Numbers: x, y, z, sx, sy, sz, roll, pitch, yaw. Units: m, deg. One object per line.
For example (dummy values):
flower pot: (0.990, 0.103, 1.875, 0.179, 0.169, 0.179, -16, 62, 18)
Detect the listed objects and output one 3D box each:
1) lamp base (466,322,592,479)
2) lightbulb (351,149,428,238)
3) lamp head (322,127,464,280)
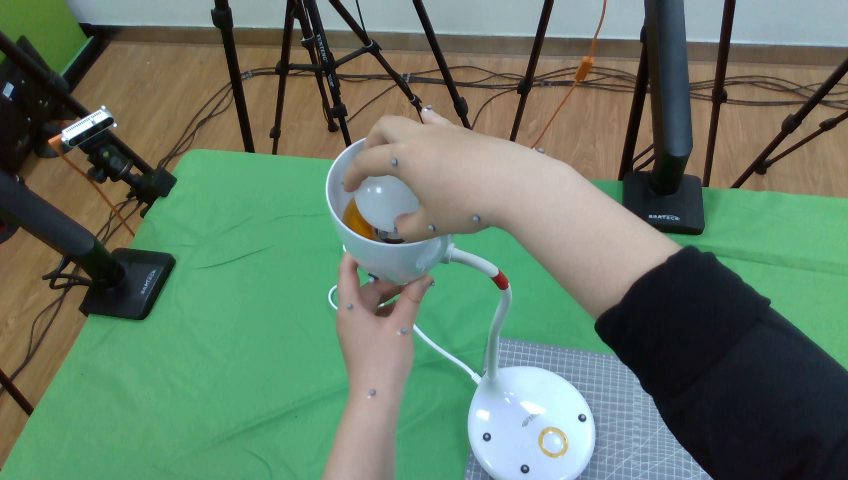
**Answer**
lamp base: (0.115, 0.178, 0.718, 0.177, 0.182, 0.160, 30, 62, 28)
lightbulb: (-0.027, -0.029, 0.490, 0.059, 0.108, 0.059, 1, 62, -1)
lamp head: (-0.021, -0.017, 0.517, 0.112, 0.124, 0.111, -2, 58, 3)
